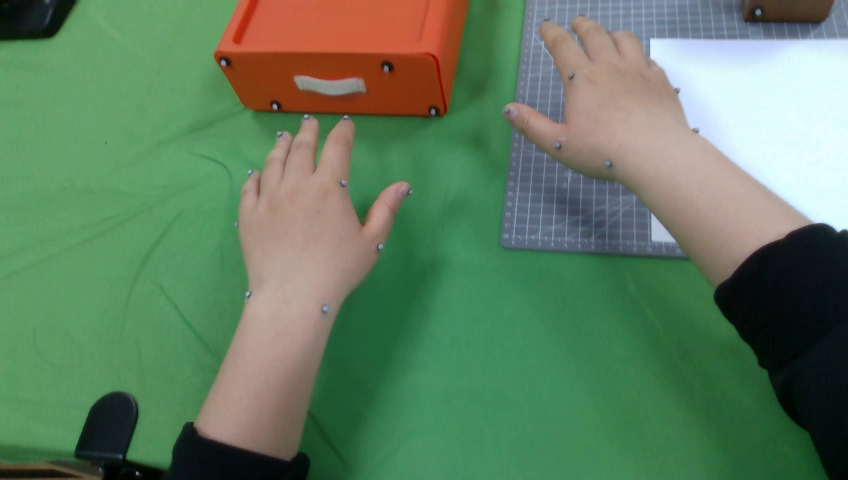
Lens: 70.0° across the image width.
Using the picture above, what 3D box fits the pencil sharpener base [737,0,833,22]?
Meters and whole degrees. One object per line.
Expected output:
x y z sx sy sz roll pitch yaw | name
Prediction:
0.308 -0.243 0.506 0.076 0.108 0.061 4 61 14 | pencil sharpener base

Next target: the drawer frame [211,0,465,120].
-0.067 -0.220 0.578 0.201 0.083 0.212 3 60 12 | drawer frame

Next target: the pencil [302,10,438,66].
-0.060 -0.206 0.605 0.192 0.012 0.012 30 70 30 | pencil

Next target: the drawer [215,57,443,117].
-0.066 -0.217 0.579 0.194 0.074 0.210 3 60 13 | drawer
